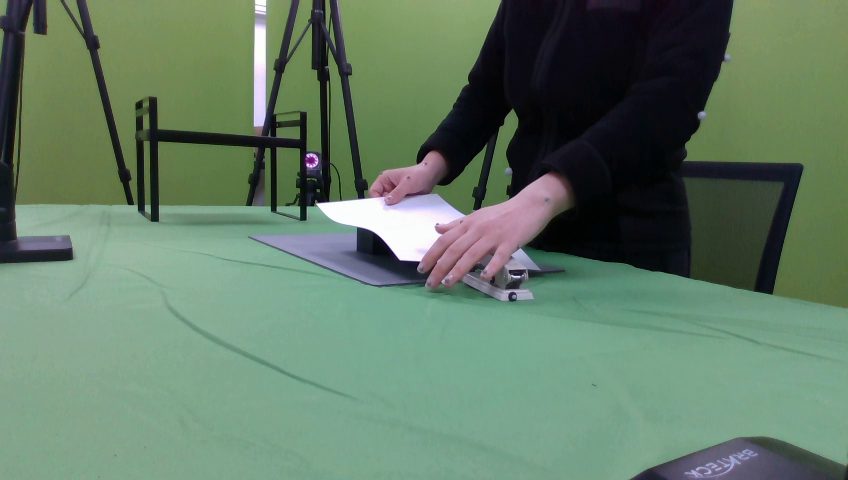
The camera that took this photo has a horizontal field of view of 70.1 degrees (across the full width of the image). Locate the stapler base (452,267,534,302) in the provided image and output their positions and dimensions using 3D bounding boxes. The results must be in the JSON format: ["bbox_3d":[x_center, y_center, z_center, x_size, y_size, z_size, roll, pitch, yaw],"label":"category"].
[{"bbox_3d":[0.074,0.043,0.686,0.041,0.024,0.130,-3,12,-22],"label":"stapler base"}]

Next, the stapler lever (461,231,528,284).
[{"bbox_3d":[0.077,0.018,0.680,0.027,0.040,0.117,-3,13,-22],"label":"stapler lever"}]
